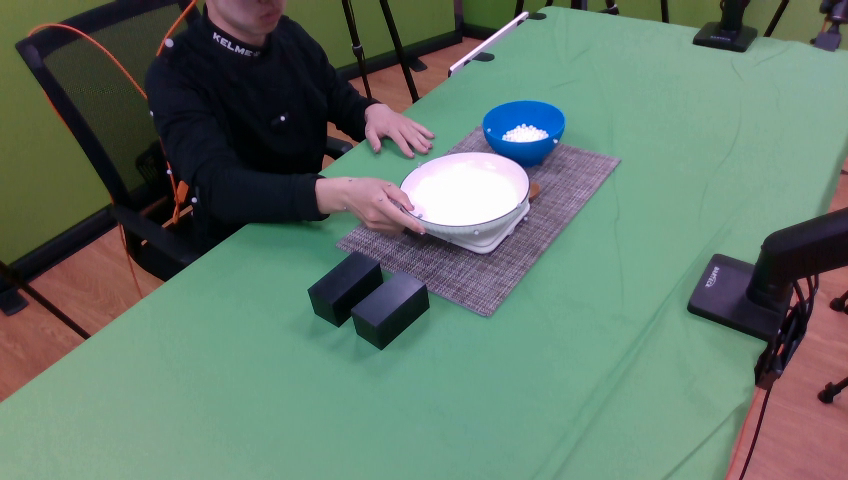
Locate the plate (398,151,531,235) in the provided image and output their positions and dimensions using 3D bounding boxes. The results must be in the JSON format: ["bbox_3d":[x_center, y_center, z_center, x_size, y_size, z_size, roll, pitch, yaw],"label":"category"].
[{"bbox_3d":[0.063,-0.071,0.951,0.209,0.038,0.208,-6,38,5],"label":"plate"}]

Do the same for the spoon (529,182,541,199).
[{"bbox_3d":[0.120,-0.108,1.071,0.192,0.022,0.041,23,62,31],"label":"spoon"}]

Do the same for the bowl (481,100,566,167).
[{"bbox_3d":[0.183,-0.187,1.111,0.151,0.077,0.150,-4,41,4],"label":"bowl"}]

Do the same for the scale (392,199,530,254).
[{"bbox_3d":[0.060,-0.051,1.006,0.199,0.032,0.149,22,48,30],"label":"scale"}]
